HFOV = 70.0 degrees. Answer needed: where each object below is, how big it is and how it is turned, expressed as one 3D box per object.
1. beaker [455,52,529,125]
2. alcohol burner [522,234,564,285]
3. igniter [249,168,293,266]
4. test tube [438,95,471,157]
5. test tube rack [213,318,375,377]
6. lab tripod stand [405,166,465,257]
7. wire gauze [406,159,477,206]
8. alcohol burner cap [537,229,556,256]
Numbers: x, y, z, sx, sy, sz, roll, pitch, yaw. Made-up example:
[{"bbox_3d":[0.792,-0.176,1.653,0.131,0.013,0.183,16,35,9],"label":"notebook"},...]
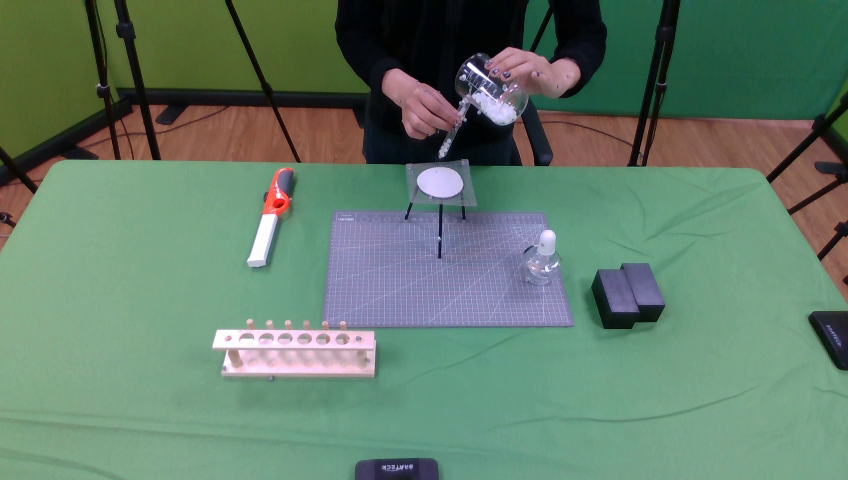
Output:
[{"bbox_3d":[0.105,-0.229,0.936,0.074,0.084,0.099,-15,50,-37],"label":"beaker"},{"bbox_3d":[0.223,0.027,1.120,0.078,0.119,0.077,2,48,-2],"label":"alcohol burner"},{"bbox_3d":[-0.307,-0.055,1.225,0.057,0.025,0.275,-3,46,6],"label":"igniter"},{"bbox_3d":[0.051,-0.193,1.045,0.017,0.150,0.017,8,58,-13],"label":"test tube"},{"bbox_3d":[-0.202,0.170,0.977,0.242,0.085,0.066,1,46,-3],"label":"test tube rack"},{"bbox_3d":[0.030,-0.063,1.180,0.148,0.132,0.147,3,47,-3],"label":"lab tripod stand"},{"bbox_3d":[0.031,-0.108,1.129,0.125,0.011,0.120,-1,48,-5],"label":"wire gauze"},{"bbox_3d":[0.223,0.001,1.095,0.034,0.048,0.033,-1,44,1],"label":"alcohol burner cap"}]
